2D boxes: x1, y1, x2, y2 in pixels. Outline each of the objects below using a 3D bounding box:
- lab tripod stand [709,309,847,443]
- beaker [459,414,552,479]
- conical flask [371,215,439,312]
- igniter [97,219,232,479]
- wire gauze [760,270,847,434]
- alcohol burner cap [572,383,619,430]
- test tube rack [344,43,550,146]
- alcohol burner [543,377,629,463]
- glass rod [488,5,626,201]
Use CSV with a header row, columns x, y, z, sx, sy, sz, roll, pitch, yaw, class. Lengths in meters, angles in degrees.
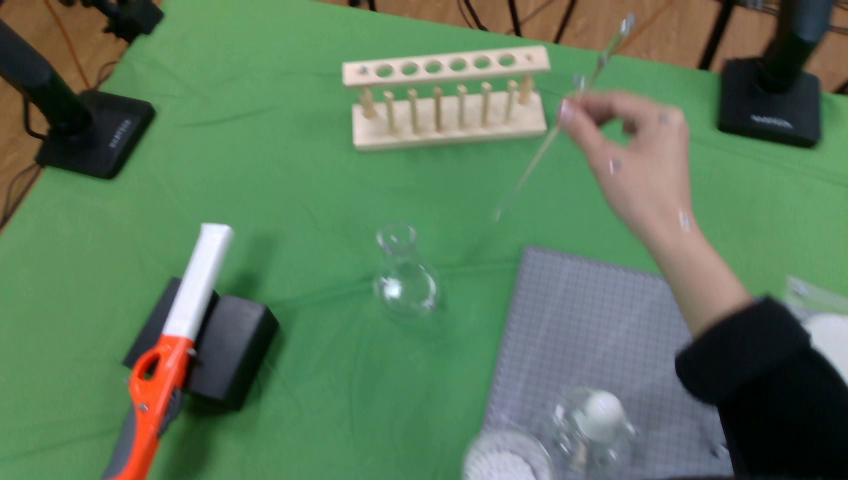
x,y,z,sx,sy,sz,roll,pitch,yaw,class
0.333,0.127,0.538,0.148,0.132,0.147,0,61,1,lab tripod stand
0.066,0.204,0.529,0.084,0.101,0.073,-40,66,-16,beaker
-0.024,0.020,0.621,0.075,0.123,0.074,-1,62,3,conical flask
-0.246,0.101,0.591,0.057,0.025,0.274,5,61,11,igniter
0.338,0.093,0.479,0.121,0.011,0.124,19,65,11,wire gauze
0.147,0.138,0.511,0.034,0.048,0.033,1,56,-2,alcohol burner cap
0.028,-0.177,0.744,0.242,0.086,0.066,-5,62,0,test tube rack
0.148,0.156,0.542,0.078,0.120,0.077,0,61,0,alcohol burner
0.092,-0.092,0.458,0.008,0.200,0.008,12,52,-16,glass rod
